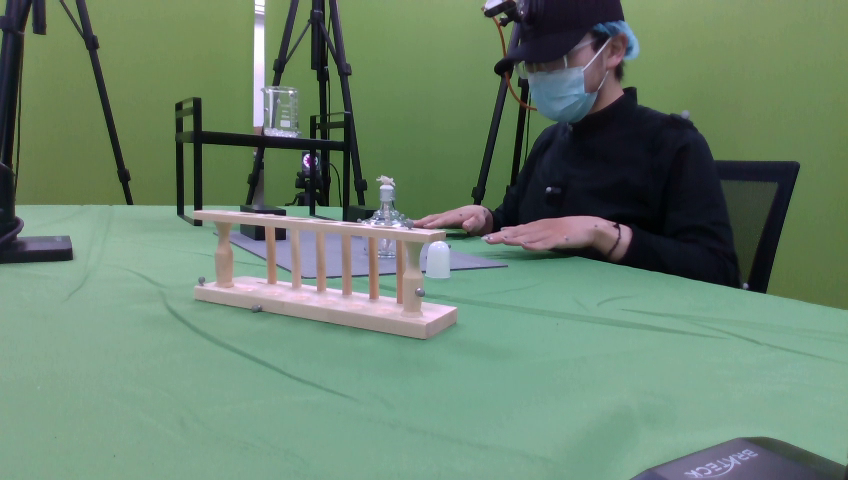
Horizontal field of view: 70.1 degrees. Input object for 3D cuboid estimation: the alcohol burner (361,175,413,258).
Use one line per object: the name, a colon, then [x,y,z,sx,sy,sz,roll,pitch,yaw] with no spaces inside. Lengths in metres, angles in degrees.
alcohol burner: [-0.054,-0.034,0.871,0.078,0.119,0.078,1,8,0]

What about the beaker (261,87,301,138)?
beaker: [-0.298,-0.263,1.255,0.084,0.100,0.073,-5,10,-40]

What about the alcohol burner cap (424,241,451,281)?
alcohol burner cap: [0.018,0.024,0.748,0.034,0.048,0.034,3,8,0]

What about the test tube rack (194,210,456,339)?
test tube rack: [-0.093,0.023,0.545,0.241,0.085,0.067,6,8,25]
